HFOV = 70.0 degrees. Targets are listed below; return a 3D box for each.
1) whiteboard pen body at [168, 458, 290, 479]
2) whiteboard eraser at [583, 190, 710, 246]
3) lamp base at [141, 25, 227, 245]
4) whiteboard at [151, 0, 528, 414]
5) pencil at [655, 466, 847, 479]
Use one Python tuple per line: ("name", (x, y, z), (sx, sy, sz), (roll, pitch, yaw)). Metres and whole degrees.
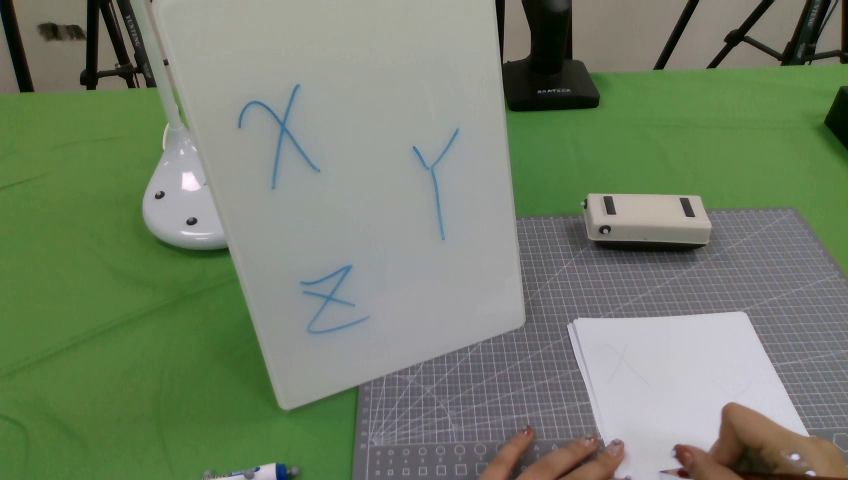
("whiteboard pen body", (-0.165, 0.172, 0.420), (0.141, 0.017, 0.017), (-9, 43, -7))
("whiteboard eraser", (0.216, -0.021, 0.597), (0.112, 0.042, 0.055), (2, 44, 4))
("lamp base", (-0.230, -0.113, 0.609), (0.177, 0.182, 0.160), (27, 50, 31))
("whiteboard", (-0.055, -0.055, 0.492), (0.217, 0.307, 0.142), (-16, 25, -15))
("pencil", (0.205, 0.136, 0.343), (0.012, 0.194, 0.012), (8, 71, -25))
